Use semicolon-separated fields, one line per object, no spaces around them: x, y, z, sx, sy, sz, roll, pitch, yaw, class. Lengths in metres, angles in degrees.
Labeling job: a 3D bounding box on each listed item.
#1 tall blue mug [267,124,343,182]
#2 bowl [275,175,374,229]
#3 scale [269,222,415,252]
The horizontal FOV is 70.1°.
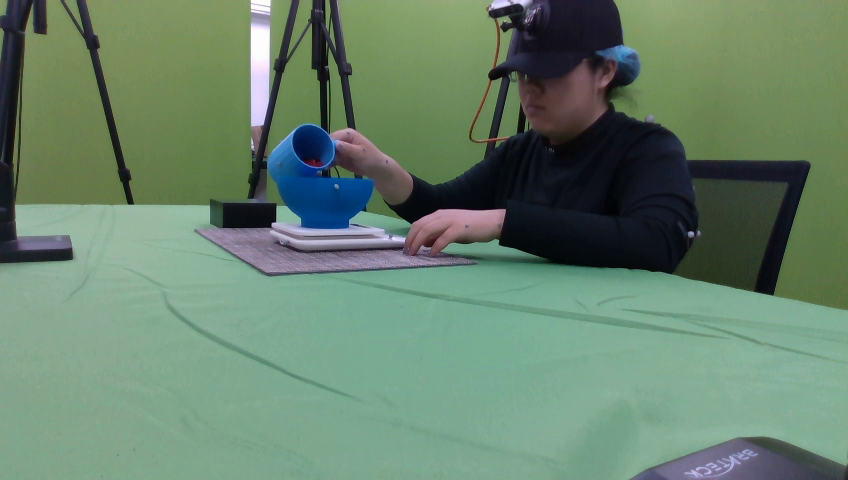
-0.199;-0.148;1.017;0.107;0.078;0.107;-23;25;53;tall blue mug
-0.152;-0.059;0.932;0.151;0.077;0.151;2;7;0;bowl
-0.130;-0.008;0.958;0.202;0.031;0.148;-1;9;-32;scale
